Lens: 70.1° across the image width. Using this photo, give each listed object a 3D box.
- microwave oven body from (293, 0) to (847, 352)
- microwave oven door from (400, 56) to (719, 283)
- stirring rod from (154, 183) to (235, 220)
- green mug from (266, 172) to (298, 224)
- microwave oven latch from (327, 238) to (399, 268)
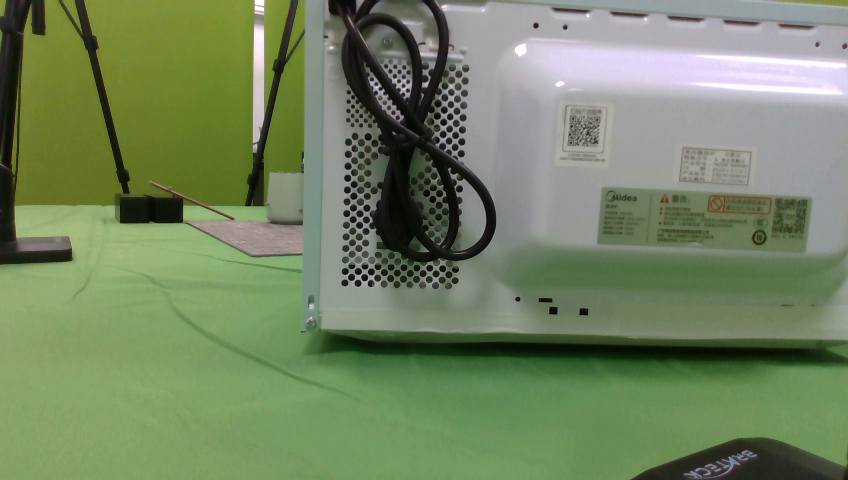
[{"bbox_3d":[0.122,-0.055,0.550,0.442,0.260,0.325,3,7,-5],"label":"microwave oven body"},{"bbox_3d":[0.155,-0.077,0.698,0.356,0.243,0.039,2,8,-5],"label":"microwave oven door"},{"bbox_3d":[-0.472,-0.079,1.252,0.177,0.006,0.014,27,4,-35],"label":"stirring rod"},{"bbox_3d":[-0.272,-0.089,1.271,0.092,0.105,0.126,7,8,33],"label":"green mug"},{"bbox_3d":[-0.069,0.015,0.694,0.079,0.029,0.030,3,7,-3],"label":"microwave oven latch"}]
